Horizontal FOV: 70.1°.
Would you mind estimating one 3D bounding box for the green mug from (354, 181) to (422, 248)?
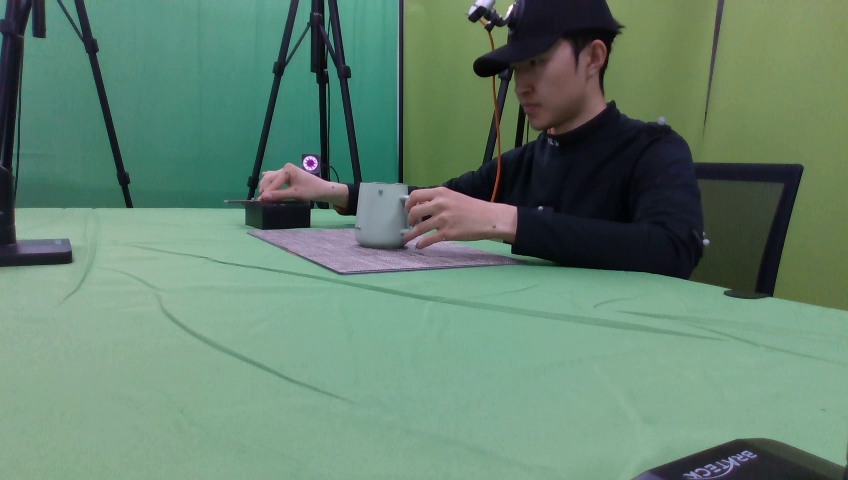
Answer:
[{"bbox_3d":[-0.055,-0.042,0.989,0.125,0.105,0.093,7,9,35],"label":"green mug"}]

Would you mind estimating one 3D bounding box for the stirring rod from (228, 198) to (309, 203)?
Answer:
[{"bbox_3d":[-0.318,-0.082,1.246,0.177,0.006,0.014,-5,10,-40],"label":"stirring rod"}]
